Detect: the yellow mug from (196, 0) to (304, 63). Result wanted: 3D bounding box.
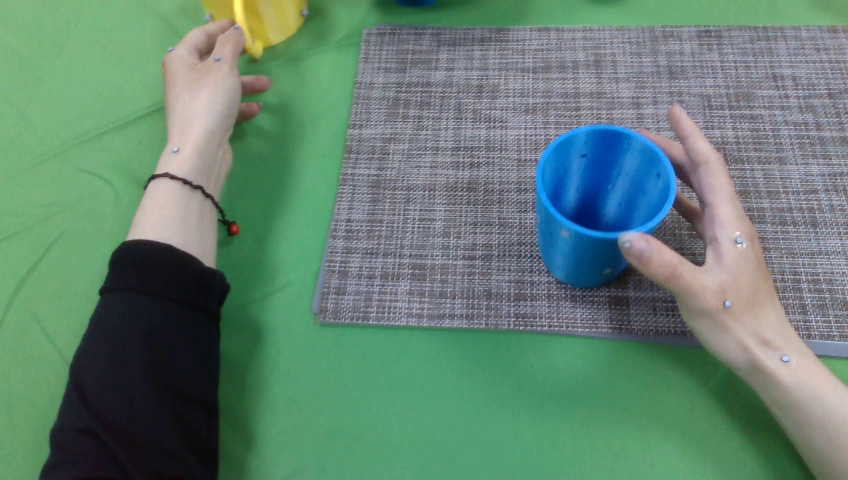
[{"bbox_3d":[-0.169,-0.227,0.576,0.100,0.064,0.129,-9,63,-1],"label":"yellow mug"}]

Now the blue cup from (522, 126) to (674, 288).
[{"bbox_3d":[0.114,-0.013,0.418,0.092,0.101,0.092,-2,62,4],"label":"blue cup"}]

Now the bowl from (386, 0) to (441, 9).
[{"bbox_3d":[-0.012,-0.280,0.585,0.151,0.077,0.150,-2,62,4],"label":"bowl"}]
